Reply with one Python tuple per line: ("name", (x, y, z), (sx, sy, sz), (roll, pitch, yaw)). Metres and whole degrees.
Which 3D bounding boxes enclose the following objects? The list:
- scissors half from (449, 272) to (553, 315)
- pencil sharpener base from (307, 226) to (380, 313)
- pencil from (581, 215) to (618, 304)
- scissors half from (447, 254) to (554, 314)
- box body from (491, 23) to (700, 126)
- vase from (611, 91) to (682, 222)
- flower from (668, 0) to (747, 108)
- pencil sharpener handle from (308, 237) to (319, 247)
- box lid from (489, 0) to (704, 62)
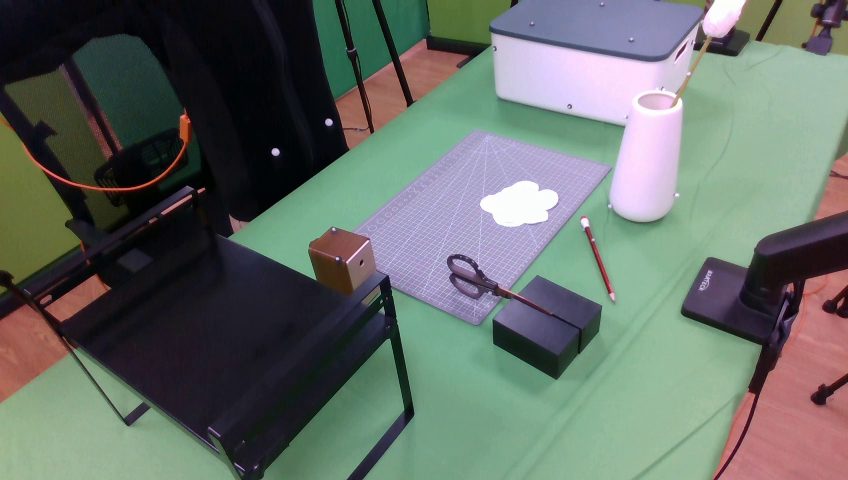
("scissors half", (0.104, 0.076, 0.834), (0.173, 0.040, 0.013), (15, 48, 42))
("pencil sharpener base", (-0.116, 0.043, 0.875), (0.076, 0.107, 0.061), (18, 47, 27))
("pencil", (0.266, 0.026, 0.917), (0.012, 0.012, 0.193), (-6, 42, 1))
("scissors half", (0.101, 0.060, 0.821), (0.174, 0.040, 0.013), (28, 51, 28))
("box body", (0.351, -0.384, 1.267), (0.361, 0.161, 0.255), (21, 48, 29))
("vase", (0.348, -0.125, 0.935), (0.098, 0.201, 0.097), (-3, 40, 3))
("flower", (0.355, -0.187, 0.880), (0.038, 0.362, 0.044), (30, 48, 14))
("pencil sharpener handle", (-0.158, 0.017, 0.892), (0.030, 0.068, 0.036), (18, 61, 28))
("box lid", (0.345, -0.440, 1.218), (0.369, 0.015, 0.264), (21, 48, 29))
